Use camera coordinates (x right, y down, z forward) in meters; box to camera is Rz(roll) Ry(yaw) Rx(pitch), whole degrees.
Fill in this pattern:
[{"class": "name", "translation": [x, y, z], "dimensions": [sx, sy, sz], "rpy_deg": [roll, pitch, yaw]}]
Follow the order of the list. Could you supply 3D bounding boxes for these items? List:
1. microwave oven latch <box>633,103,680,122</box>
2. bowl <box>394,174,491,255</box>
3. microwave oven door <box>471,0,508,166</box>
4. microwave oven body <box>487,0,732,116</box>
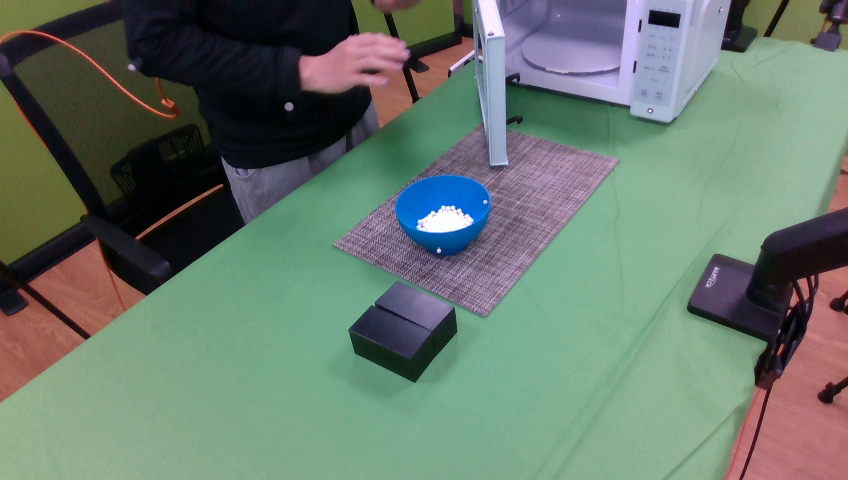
[{"class": "microwave oven latch", "translation": [0.443, -0.249, 1.157], "dimensions": [0.078, 0.029, 0.030], "rpy_deg": [21, 49, 30]}, {"class": "bowl", "translation": [0.032, -0.030, 0.949], "dimensions": [0.151, 0.077, 0.150], "rpy_deg": [-4, 40, 4]}, {"class": "microwave oven door", "translation": [0.122, -0.340, 1.153], "dimensions": [0.039, 0.245, 0.354], "rpy_deg": [-5, 40, 3]}, {"class": "microwave oven body", "translation": [0.377, -0.462, 1.267], "dimensions": [0.438, 0.261, 0.327], "rpy_deg": [21, 48, 30]}]
